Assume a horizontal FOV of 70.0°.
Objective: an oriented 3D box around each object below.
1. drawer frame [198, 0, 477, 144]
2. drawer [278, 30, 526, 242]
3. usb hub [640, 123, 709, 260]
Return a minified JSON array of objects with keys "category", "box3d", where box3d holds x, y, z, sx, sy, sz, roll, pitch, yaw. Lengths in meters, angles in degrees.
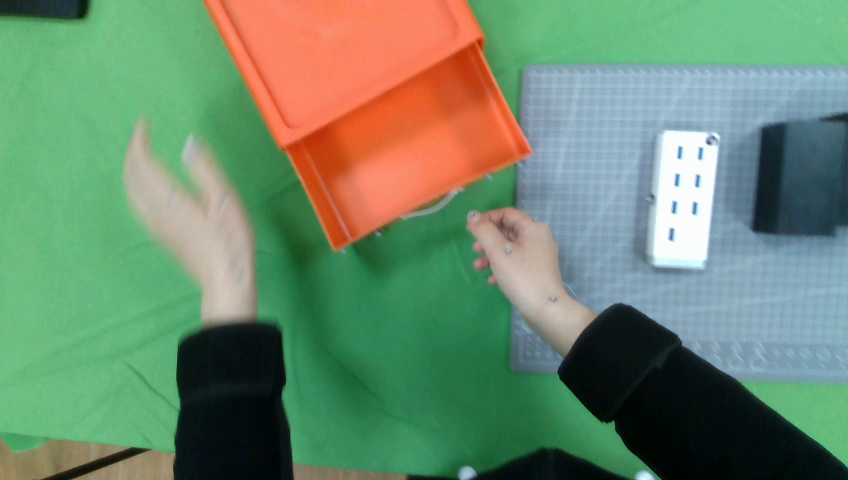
[{"category":"drawer frame","box3d":[-0.090,-0.223,0.539,0.201,0.082,0.213,-29,92,6]},{"category":"drawer","box3d":[-0.042,-0.132,0.549,0.194,0.073,0.212,-26,93,6]},{"category":"usb hub","box3d":[0.233,-0.045,0.563,0.049,0.025,0.125,3,96,3]}]
